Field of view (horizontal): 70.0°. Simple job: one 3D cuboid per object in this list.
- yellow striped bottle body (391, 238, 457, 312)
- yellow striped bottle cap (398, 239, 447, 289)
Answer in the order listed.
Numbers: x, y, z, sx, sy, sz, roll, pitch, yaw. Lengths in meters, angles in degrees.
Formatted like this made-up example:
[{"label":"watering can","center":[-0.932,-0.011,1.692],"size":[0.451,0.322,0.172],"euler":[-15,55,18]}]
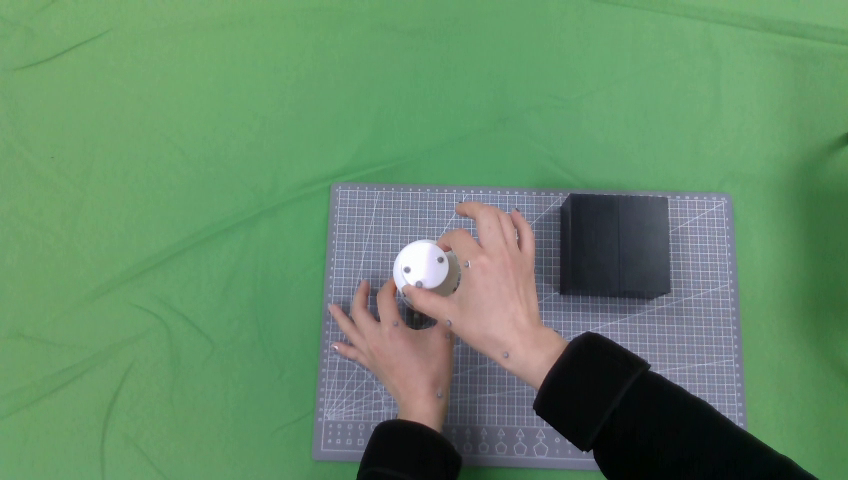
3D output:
[{"label":"yellow striped bottle body","center":[0.001,0.035,0.604],"size":[0.063,0.121,0.062],"euler":[0,78,1]},{"label":"yellow striped bottle cap","center":[-0.001,0.022,0.547],"size":[0.044,0.019,0.044],"euler":[1,84,-5]}]
